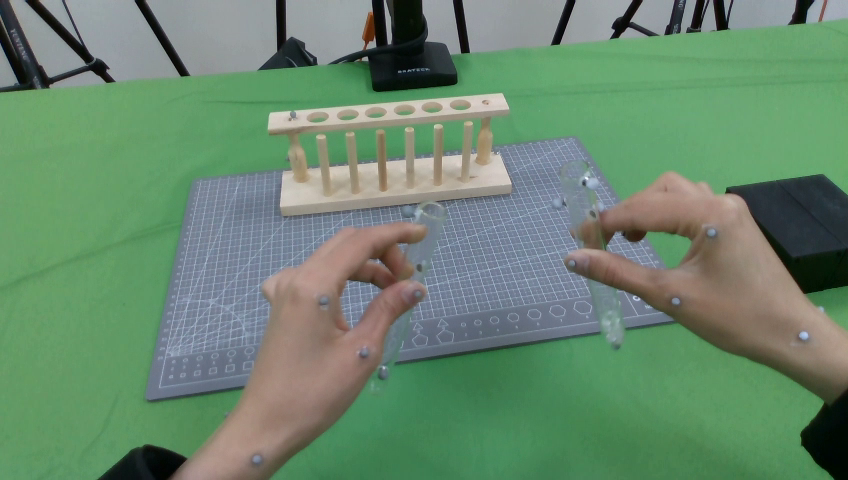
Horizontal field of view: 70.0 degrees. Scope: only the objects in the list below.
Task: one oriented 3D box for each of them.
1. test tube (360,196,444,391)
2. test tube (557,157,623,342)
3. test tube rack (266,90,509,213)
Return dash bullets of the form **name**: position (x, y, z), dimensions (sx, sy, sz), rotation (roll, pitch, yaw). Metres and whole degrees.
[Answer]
- **test tube**: position (-0.016, 0.038, 0.356), dimensions (0.017, 0.151, 0.017), rotation (13, 35, -9)
- **test tube**: position (0.099, 0.013, 0.352), dimensions (0.017, 0.152, 0.017), rotation (-14, 42, 14)
- **test tube rack**: position (-0.034, -0.093, 0.632), dimensions (0.243, 0.086, 0.066), rotation (-6, 42, -5)
